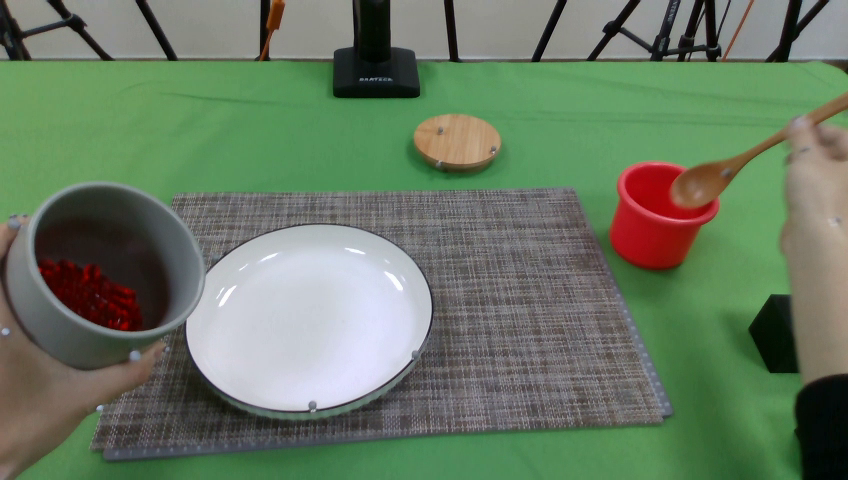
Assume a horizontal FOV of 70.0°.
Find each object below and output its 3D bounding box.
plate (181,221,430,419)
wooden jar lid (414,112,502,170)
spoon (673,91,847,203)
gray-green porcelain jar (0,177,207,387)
[{"bbox_3d":[-0.099,0.066,0.529,0.208,0.039,0.205,3,45,-2],"label":"plate"},{"bbox_3d":[0.041,-0.122,0.749,0.108,0.021,0.107,3,46,-2],"label":"wooden jar lid"},{"bbox_3d":[0.309,-0.086,0.537,0.022,0.194,0.041,2,65,-35],"label":"spoon"},{"bbox_3d":[-0.224,0.034,0.401,0.107,0.126,0.105,32,42,-34],"label":"gray-green porcelain jar"}]
